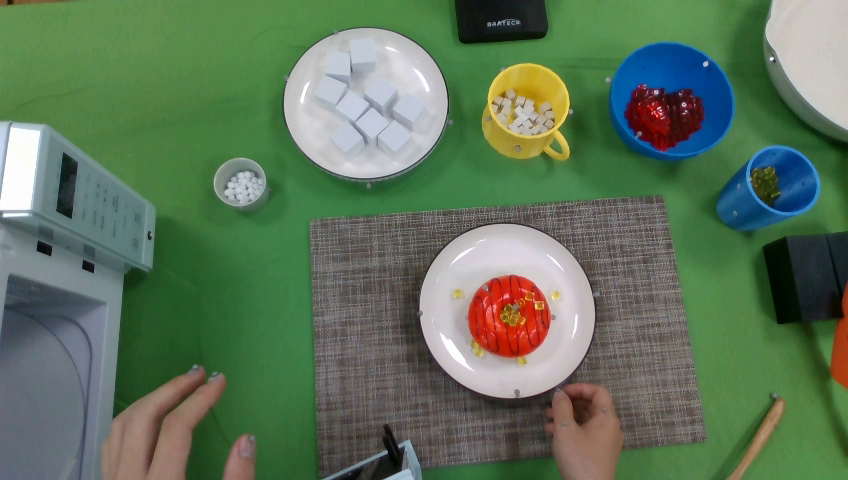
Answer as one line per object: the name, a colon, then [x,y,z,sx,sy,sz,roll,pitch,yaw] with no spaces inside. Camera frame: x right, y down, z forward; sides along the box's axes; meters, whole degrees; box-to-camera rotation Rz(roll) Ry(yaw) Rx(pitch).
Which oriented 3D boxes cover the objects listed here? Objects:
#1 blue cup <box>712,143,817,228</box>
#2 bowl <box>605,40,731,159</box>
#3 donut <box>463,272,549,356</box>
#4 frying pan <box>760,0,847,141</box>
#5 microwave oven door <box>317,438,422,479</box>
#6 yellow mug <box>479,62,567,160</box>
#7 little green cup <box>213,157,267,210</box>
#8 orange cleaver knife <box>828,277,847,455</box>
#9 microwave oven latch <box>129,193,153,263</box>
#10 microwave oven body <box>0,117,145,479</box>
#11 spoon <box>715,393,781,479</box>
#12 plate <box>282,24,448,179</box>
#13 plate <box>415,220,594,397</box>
blue cup: [0.398,-0.057,0.728,0.093,0.100,0.092,1,74,-2]
bowl: [0.293,-0.164,0.762,0.151,0.077,0.150,0,77,-2]
donut: [0.095,0.086,0.703,0.099,0.048,0.098,0,81,0]
frying pan: [0.577,-0.158,0.756,0.307,0.103,0.484,1,69,-1]
microwave oven door: [-0.170,0.276,0.542,0.356,0.245,0.039,-23,77,-7]
yellow mug: [0.133,-0.151,0.760,0.100,0.064,0.130,-41,82,-10]
little green cup: [-0.222,-0.066,0.740,0.061,0.039,0.061,1,78,-2]
orange cleaver knife: [0.493,0.147,0.695,0.012,0.077,0.212,-5,106,-3]
microwave oven latch: [-0.335,-0.014,0.707,0.030,0.029,0.079,0,78,-2]
microwave oven body: [-0.476,0.138,0.568,0.326,0.261,0.439,-1,78,-3]
spoon: [0.362,0.254,0.696,0.041,0.022,0.193,38,78,19]
plate: [-0.073,-0.173,0.772,0.208,0.039,0.206,0,77,-2]
plate: [0.092,0.080,0.715,0.209,0.038,0.208,0,78,-2]
